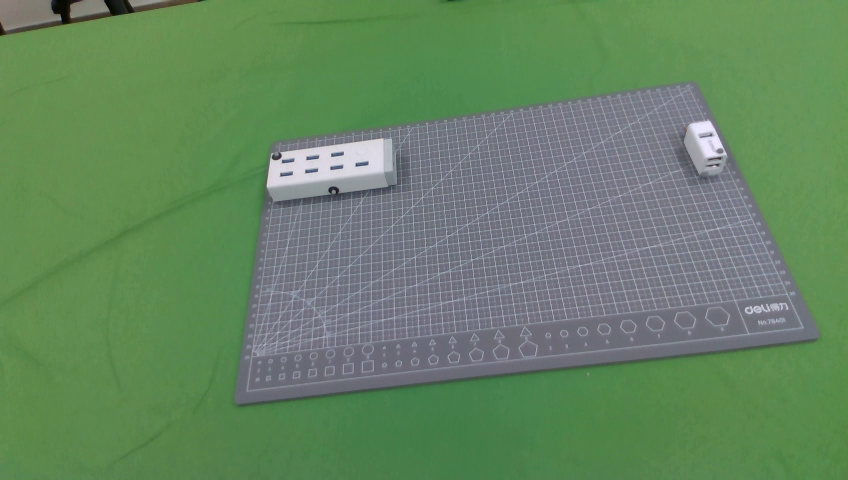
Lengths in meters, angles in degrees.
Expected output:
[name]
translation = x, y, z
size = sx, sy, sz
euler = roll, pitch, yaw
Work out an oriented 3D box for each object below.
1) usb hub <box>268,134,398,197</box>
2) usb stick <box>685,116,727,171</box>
[usb hub]
translation = -0.090, -0.075, 0.604
size = 0.125, 0.025, 0.049
euler = -7, 54, 4
[usb stick]
translation = 0.256, -0.093, 0.556
size = 0.021, 0.027, 0.058
euler = -9, 51, 6
